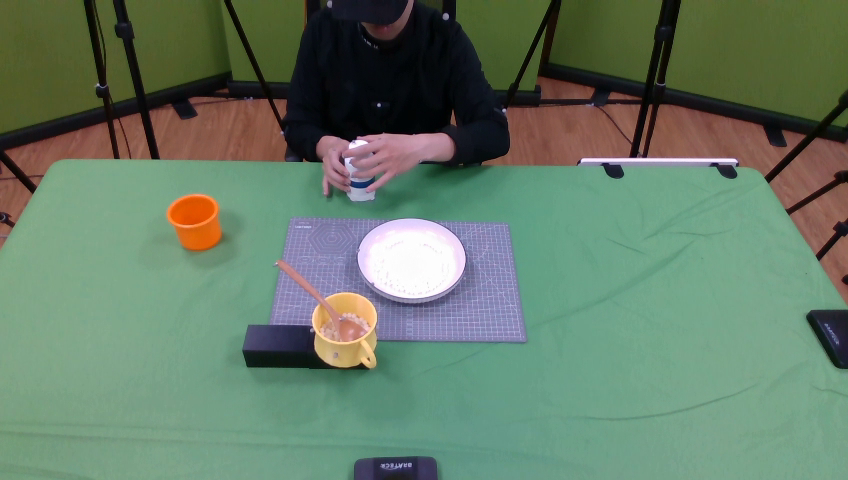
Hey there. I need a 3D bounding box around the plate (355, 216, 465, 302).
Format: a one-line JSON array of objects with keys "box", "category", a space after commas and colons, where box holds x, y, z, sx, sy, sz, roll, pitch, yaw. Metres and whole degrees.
[{"box": [-0.027, 0.039, 1.144, 0.208, 0.039, 0.206, 2, 46, -2], "category": "plate"}]

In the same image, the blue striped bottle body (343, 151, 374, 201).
[{"box": [-0.136, -0.145, 1.257, 0.063, 0.121, 0.062, 3, 47, -3], "category": "blue striped bottle body"}]

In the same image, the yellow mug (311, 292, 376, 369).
[{"box": [-0.115, 0.150, 0.945, 0.100, 0.064, 0.130, -29, 57, -28], "category": "yellow mug"}]

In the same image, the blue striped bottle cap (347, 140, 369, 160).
[{"box": [-0.132, -0.181, 1.217, 0.044, 0.021, 0.044, 2, 44, -2], "category": "blue striped bottle cap"}]

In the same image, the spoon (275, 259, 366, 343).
[{"box": [-0.161, 0.098, 0.946, 0.194, 0.021, 0.041, 48, 56, -5], "category": "spoon"}]
